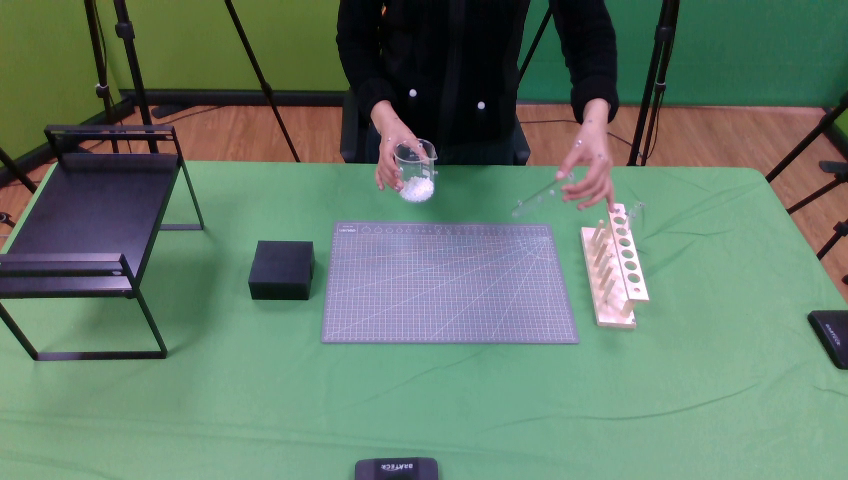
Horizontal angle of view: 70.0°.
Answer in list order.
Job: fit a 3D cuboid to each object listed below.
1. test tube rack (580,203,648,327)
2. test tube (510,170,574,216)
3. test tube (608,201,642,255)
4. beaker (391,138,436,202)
[{"bbox_3d":[0.352,0.040,1.143,0.067,0.085,0.241,4,46,0],"label":"test tube rack"},{"bbox_3d":[0.194,-0.076,1.013,0.017,0.150,0.017,15,59,-27],"label":"test tube"},{"bbox_3d":[0.373,-0.019,1.133,0.017,0.151,0.017,3,53,-4],"label":"test tube"},{"bbox_3d":[-0.015,-0.125,1.112,0.084,0.101,0.074,16,48,18],"label":"beaker"}]
